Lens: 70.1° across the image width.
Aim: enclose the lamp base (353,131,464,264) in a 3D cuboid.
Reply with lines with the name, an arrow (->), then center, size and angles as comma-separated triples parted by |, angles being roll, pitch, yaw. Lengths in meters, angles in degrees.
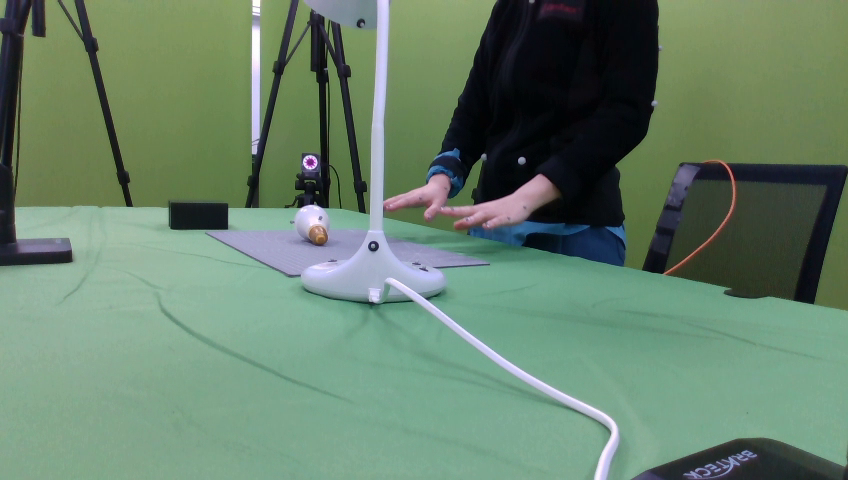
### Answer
lamp base -> -0.015, -0.062, 0.851 | 0.161, 0.180, 0.178 | -1, 10, -20
